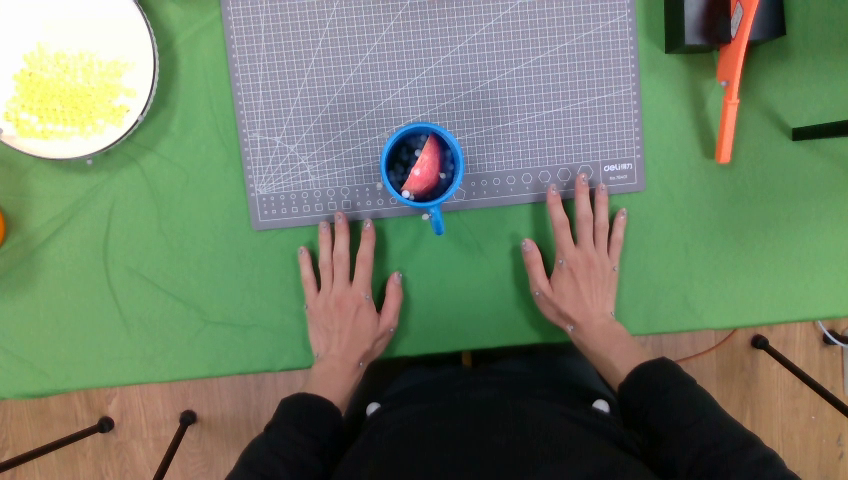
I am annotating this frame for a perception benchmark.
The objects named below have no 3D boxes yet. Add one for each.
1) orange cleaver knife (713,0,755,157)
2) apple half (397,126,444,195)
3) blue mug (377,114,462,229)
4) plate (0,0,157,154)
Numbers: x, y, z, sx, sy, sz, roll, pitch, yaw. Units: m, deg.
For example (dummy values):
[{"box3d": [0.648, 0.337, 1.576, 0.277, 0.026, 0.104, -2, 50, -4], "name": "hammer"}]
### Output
[{"box3d": [0.326, -0.194, 0.648, 0.012, 0.076, 0.213, -3, 123, 7], "name": "orange cleaver knife"}, {"box3d": [0.004, -0.077, 0.627, 0.033, 0.081, 0.081, 30, 95, 2], "name": "apple half"}, {"box3d": [-0.001, -0.068, 0.634, 0.082, 0.105, 0.117, -16, 97, 0], "name": "blue mug"}, {"box3d": [-0.383, -0.195, 0.636, 0.209, 0.038, 0.209, 0, 97, -2], "name": "plate"}]
